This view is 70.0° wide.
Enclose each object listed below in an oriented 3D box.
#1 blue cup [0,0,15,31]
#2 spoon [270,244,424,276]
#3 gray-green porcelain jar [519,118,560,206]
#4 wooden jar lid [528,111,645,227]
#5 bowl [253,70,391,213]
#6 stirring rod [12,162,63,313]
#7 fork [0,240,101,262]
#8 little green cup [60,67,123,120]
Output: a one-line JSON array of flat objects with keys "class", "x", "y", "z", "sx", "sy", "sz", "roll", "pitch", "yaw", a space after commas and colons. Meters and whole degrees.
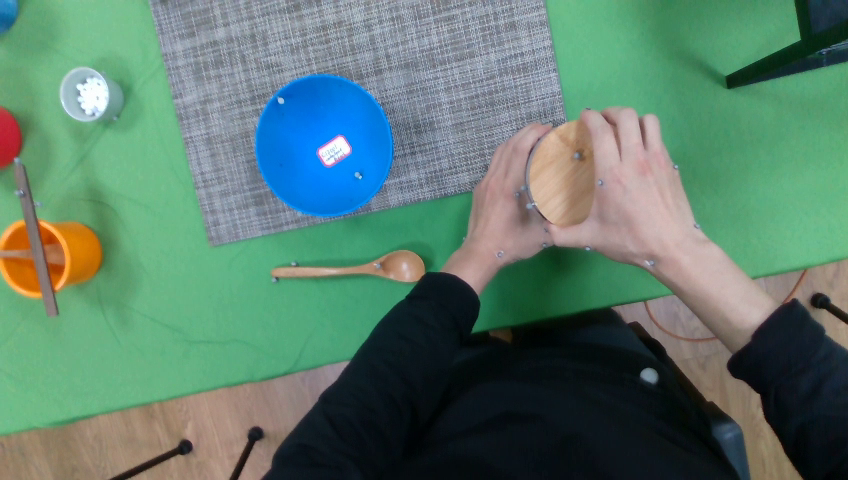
[{"class": "blue cup", "x": -0.533, "y": -0.280, "z": 0.692, "sx": 0.092, "sy": 0.100, "sz": 0.093, "roll": 1, "pitch": 97, "yaw": 7}, {"class": "spoon", "x": -0.095, "y": 0.029, "z": 0.728, "sx": 0.193, "sy": 0.021, "sz": 0.042, "roll": -4, "pitch": 115, "yaw": 6}, {"class": "gray-green porcelain jar", "x": 0.156, "y": -0.077, "z": 0.637, "sx": 0.106, "sy": 0.126, "sz": 0.106, "roll": 0, "pitch": 100, "yaw": 3}, {"class": "wooden jar lid", "x": 0.153, "y": -0.067, "z": 0.575, "sx": 0.108, "sy": 0.020, "sz": 0.108, "roll": 0, "pitch": 99, "yaw": 3}, {"class": "bowl", "x": -0.105, "y": -0.107, "z": 0.680, "sx": 0.151, "sy": 0.077, "sz": 0.151, "roll": 1, "pitch": 97, "yaw": 6}, {"class": "stirring rod", "x": -0.440, "y": -0.002, "z": 0.690, "sx": 0.014, "sy": 0.006, "sz": 0.176, "roll": -11, "pitch": 96, "yaw": 7}, {"class": "fork", "x": -0.491, "y": 0.013, "z": 0.699, "sx": 0.209, "sy": 0.018, "sz": 0.028, "roll": 2, "pitch": 102, "yaw": -38}, {"class": "little green cup", "x": -0.394, "y": -0.173, "z": 0.723, "sx": 0.061, "sy": 0.038, "sz": 0.061, "roll": 1, "pitch": 97, "yaw": 6}]
